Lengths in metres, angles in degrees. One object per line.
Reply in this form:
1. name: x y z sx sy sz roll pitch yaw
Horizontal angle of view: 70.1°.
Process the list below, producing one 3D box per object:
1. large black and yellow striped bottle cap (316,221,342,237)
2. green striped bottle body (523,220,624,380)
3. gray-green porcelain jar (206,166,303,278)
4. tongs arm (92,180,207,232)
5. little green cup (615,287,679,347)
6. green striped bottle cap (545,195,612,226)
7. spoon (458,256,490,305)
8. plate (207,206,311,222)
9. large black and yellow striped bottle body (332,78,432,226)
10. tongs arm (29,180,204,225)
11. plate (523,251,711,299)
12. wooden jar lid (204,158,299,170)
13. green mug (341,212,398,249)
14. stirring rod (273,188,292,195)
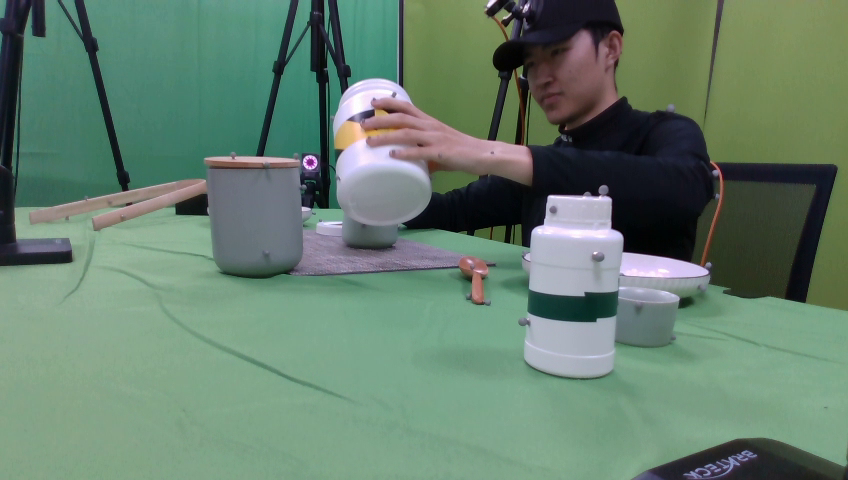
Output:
1. large black and yellow striped bottle cap: -0.147 -0.021 1.147 0.115 0.019 0.115 2 9 0
2. green striped bottle body: 0.104 0.031 0.422 0.063 0.119 0.063 2 8 0
3. gray-green porcelain jar: -0.201 -0.024 0.724 0.106 0.126 0.106 -1 9 1
4. tongs arm: -0.534 -0.076 1.221 0.028 0.028 0.388 -2 15 12
5. little green cup: 0.180 0.064 0.506 0.061 0.038 0.061 2 8 0
6. green striped bottle cap: 0.106 -0.020 0.414 0.044 0.020 0.044 2 4 0
7. spoon: 0.059 0.044 0.695 0.041 0.021 0.194 18 7 1
8. plate: -0.342 -0.050 1.259 0.208 0.039 0.207 2 7 0
9. large black and yellow striped bottle body: -0.063 -0.127 0.855 0.131 0.183 0.131 -6 -34 -4
10. tongs arm: -0.609 -0.083 1.245 0.050 0.026 0.386 5 16 23
11. plate: 0.219 0.041 0.706 0.209 0.038 0.209 2 7 0
12. wooden jar lid: -0.202 -0.086 0.714 0.108 0.020 0.108 3 11 0
13. green mug: -0.090 -0.044 0.997 0.093 0.105 0.125 1 7 -10
14. stirring rod: -0.354 -0.122 1.518 0.006 0.014 0.176 2 6 1
